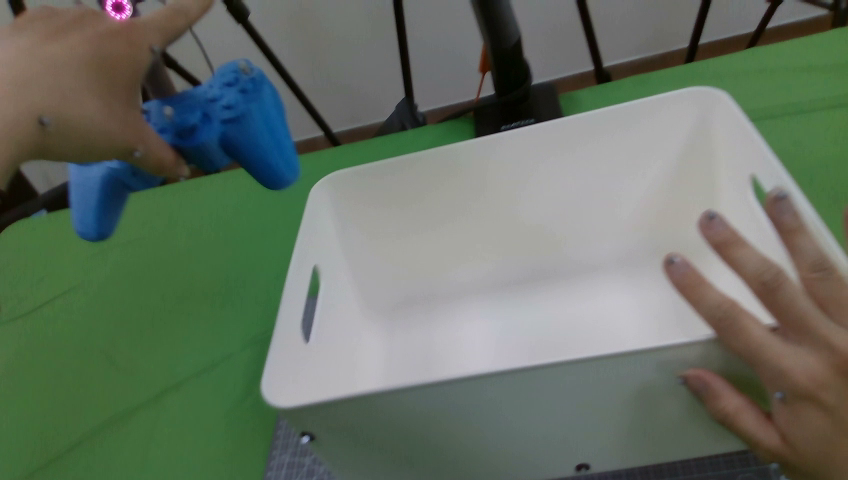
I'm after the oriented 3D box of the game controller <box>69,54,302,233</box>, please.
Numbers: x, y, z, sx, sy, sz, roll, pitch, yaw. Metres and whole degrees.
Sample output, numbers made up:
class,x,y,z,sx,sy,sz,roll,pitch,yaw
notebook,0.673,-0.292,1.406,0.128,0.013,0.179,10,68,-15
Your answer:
class,x,y,z,sx,sy,sz,roll,pitch,yaw
game controller,-0.160,-0.069,0.395,0.155,0.052,0.096,-14,56,6

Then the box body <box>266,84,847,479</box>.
class,x,y,z,sx,sy,sz,roll,pitch,yaw
box body,0.090,0.040,0.492,0.364,0.162,0.251,-11,41,10
